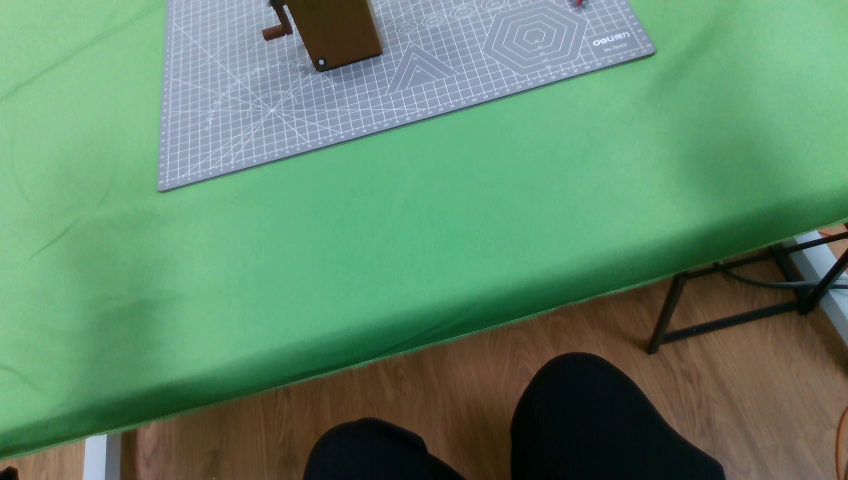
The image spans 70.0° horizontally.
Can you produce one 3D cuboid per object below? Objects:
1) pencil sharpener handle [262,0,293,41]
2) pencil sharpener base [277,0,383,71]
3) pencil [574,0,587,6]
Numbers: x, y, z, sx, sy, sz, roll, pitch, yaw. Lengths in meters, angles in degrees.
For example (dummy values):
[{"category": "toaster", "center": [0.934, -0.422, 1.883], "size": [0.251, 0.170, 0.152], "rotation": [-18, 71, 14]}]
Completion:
[{"category": "pencil sharpener handle", "center": [-0.139, -0.207, 0.537], "size": [0.030, 0.068, 0.035], "rotation": [-17, 57, 2]}, {"category": "pencil sharpener base", "center": [-0.088, -0.216, 0.546], "size": [0.077, 0.108, 0.060], "rotation": [-17, 58, 2]}, {"category": "pencil", "center": [0.121, -0.294, 0.607], "size": [0.012, 0.012, 0.192], "rotation": [-18, 57, 1]}]
